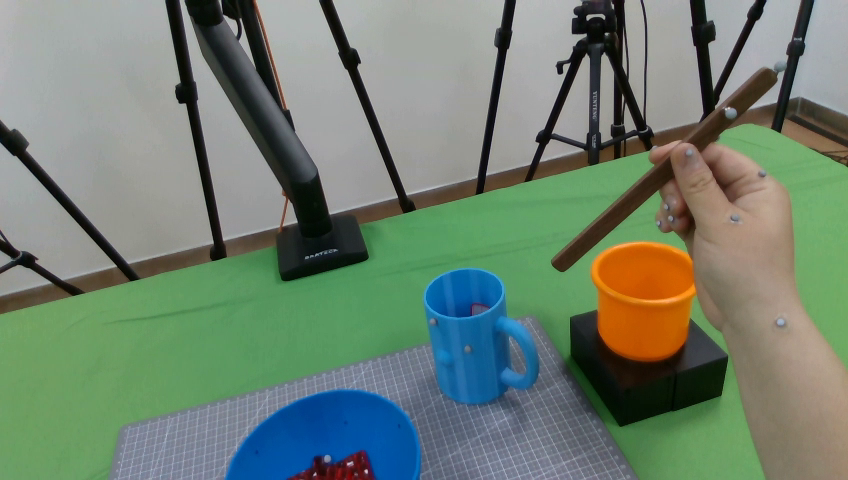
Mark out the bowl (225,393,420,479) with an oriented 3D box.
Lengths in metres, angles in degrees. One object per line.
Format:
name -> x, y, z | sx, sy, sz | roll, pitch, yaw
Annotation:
bowl -> -0.072, 0.203, 0.476 | 0.151, 0.077, 0.150 | -6, 32, 4

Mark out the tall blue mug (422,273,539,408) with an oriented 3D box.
tall blue mug -> 0.058, 0.097, 0.579 | 0.107, 0.109, 0.077 | 1, 33, 15

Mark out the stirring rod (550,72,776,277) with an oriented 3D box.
stirring rod -> 0.146, -0.036, 0.385 | 0.176, 0.014, 0.005 | -46, 28, 22
